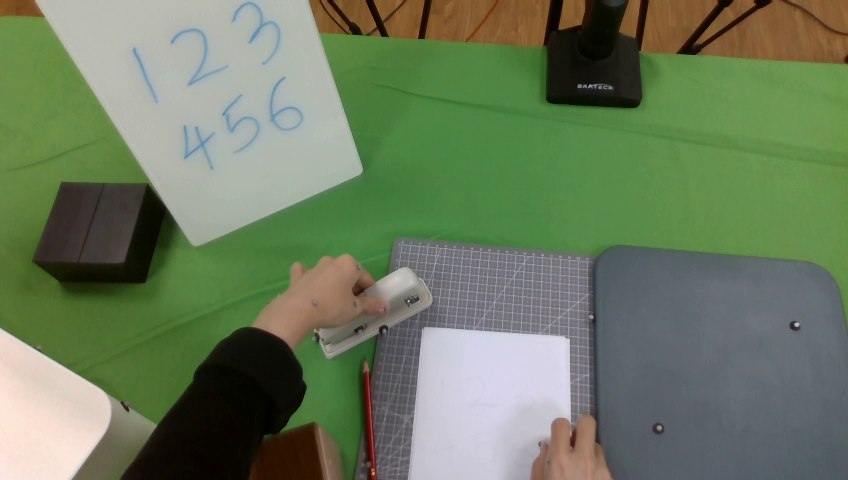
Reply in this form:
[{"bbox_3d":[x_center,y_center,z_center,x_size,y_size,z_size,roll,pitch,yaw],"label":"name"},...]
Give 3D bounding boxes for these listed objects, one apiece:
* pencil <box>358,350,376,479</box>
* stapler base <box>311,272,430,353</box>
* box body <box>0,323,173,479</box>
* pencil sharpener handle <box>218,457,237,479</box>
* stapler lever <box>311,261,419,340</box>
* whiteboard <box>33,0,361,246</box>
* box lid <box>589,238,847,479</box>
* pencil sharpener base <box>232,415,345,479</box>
[{"bbox_3d":[-0.054,0.199,0.587,0.012,0.012,0.192,-8,63,-2],"label":"pencil"},{"bbox_3d":[-0.057,0.071,0.645,0.130,0.024,0.041,-27,62,-9],"label":"stapler base"},{"bbox_3d":[-0.442,0.183,0.519,0.362,0.161,0.253,24,66,13],"label":"box body"},{"bbox_3d":[-0.165,0.214,0.515,0.031,0.068,0.035,-15,48,-6],"label":"pencil sharpener handle"},{"bbox_3d":[-0.060,0.061,0.622,0.118,0.040,0.026,-27,61,-9],"label":"stapler lever"},{"bbox_3d":[-0.227,-0.185,0.656,0.217,0.308,0.142,-25,46,-11],"label":"whiteboard"},{"bbox_3d":[0.298,0.168,0.597,0.263,0.015,0.368,5,64,3],"label":"box lid"},{"bbox_3d":[-0.116,0.203,0.534,0.077,0.108,0.061,-15,64,-6],"label":"pencil sharpener base"}]
